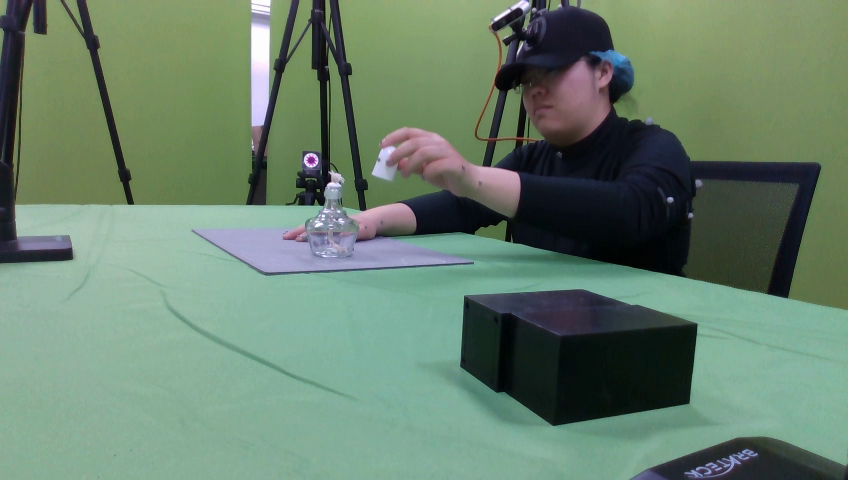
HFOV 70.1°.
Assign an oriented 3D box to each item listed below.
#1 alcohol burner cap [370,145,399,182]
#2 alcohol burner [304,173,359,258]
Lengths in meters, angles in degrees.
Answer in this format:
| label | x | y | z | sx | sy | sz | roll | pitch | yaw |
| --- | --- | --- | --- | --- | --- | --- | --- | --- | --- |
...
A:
| label | x | y | z | sx | sy | sz | roll | pitch | yaw |
| --- | --- | --- | --- | --- | --- | --- | --- | --- | --- |
| alcohol burner cap | -0.051 | -0.106 | 0.819 | 0.034 | 0.048 | 0.034 | 18 | 8 | -2 |
| alcohol burner | -0.130 | -0.034 | 0.851 | 0.078 | 0.119 | 0.078 | 2 | 5 | 0 |
